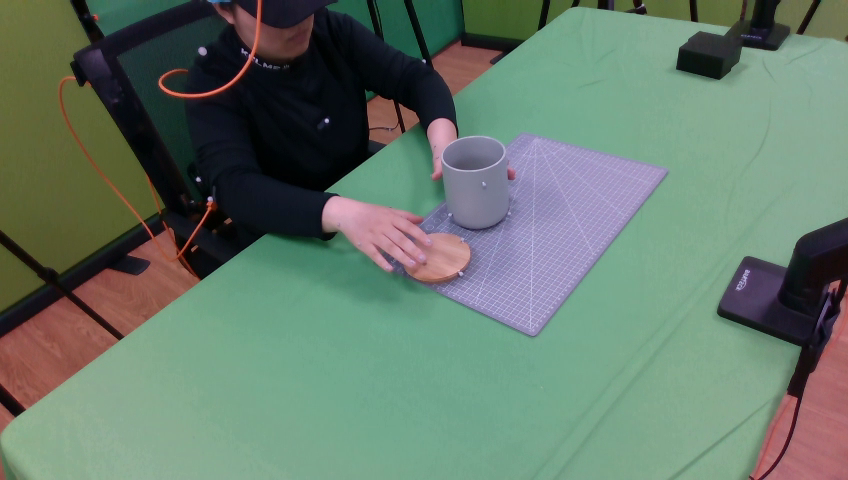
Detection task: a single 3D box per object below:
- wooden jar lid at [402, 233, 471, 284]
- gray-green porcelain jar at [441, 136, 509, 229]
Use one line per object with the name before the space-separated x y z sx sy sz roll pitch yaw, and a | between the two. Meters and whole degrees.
wooden jar lid | 0.020 0.030 0.941 0.108 0.021 0.108 -4 40 4
gray-green porcelain jar | 0.086 -0.090 0.988 0.106 0.127 0.105 -6 40 5
